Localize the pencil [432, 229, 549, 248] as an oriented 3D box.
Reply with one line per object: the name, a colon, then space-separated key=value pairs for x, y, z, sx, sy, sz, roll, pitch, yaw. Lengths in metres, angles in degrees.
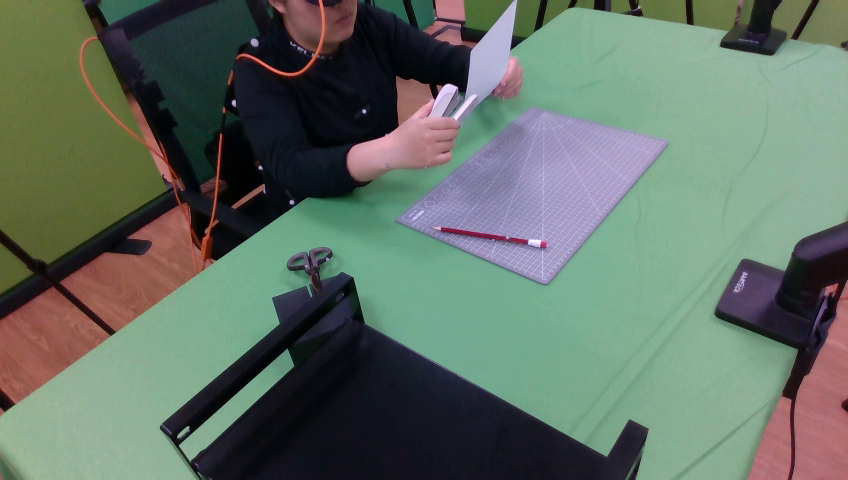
pencil: x=0.103 y=-0.004 z=0.970 sx=0.193 sy=0.012 sz=0.012 roll=7 pitch=42 yaw=18

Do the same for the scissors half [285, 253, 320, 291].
scissors half: x=-0.178 y=0.049 z=0.909 sx=0.040 sy=0.013 sz=0.174 roll=-16 pitch=19 yaw=-20

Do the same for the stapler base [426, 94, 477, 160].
stapler base: x=0.042 y=-0.195 z=1.017 sx=0.024 sy=0.041 sz=0.130 roll=36 pitch=84 yaw=11

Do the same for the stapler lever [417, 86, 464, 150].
stapler lever: x=0.022 y=-0.208 z=1.020 sx=0.040 sy=0.027 sz=0.118 roll=37 pitch=84 yaw=10

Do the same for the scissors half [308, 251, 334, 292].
scissors half: x=-0.159 y=0.046 z=0.913 sx=0.040 sy=0.013 sz=0.174 roll=-5 pitch=18 yaw=-4
